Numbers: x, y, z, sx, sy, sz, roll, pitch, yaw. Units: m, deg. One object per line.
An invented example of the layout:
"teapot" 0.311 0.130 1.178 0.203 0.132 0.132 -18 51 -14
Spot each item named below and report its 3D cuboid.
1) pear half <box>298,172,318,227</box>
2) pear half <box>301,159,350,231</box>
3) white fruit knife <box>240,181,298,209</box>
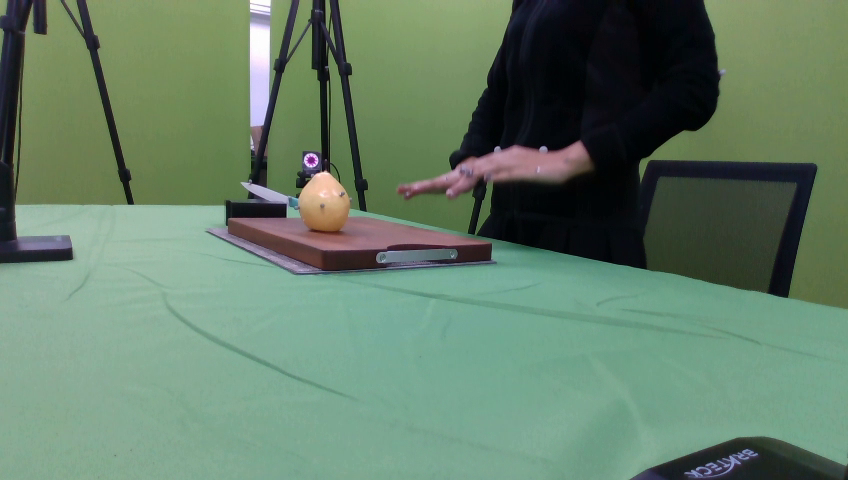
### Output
"pear half" -0.172 -0.062 0.938 0.031 0.088 0.071 8 14 34
"pear half" -0.143 -0.068 0.917 0.055 0.110 0.077 8 12 34
"white fruit knife" -0.269 -0.077 1.213 0.208 0.027 0.016 22 5 -28
